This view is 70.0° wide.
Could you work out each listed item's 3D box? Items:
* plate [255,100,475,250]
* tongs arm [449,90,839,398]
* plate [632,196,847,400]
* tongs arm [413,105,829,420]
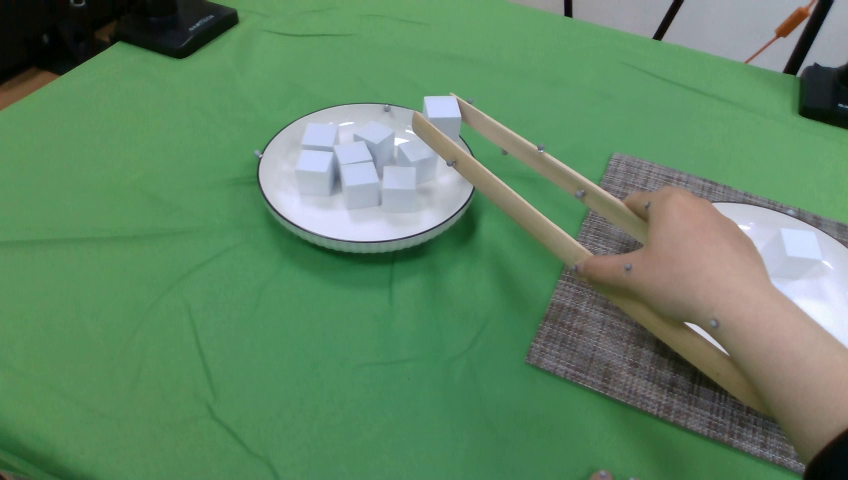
[{"bbox_3d":[-0.055,-0.062,0.590,0.209,0.038,0.207,3,47,-2],"label":"plate"},{"bbox_3d":[0.132,-0.018,0.470,0.051,0.027,0.381,-32,55,-27],"label":"tongs arm"},{"bbox_3d":[0.277,0.046,0.510,0.208,0.039,0.205,2,47,-2],"label":"plate"},{"bbox_3d":[0.110,-0.005,0.459,0.028,0.028,0.383,-27,52,-28],"label":"tongs arm"}]
